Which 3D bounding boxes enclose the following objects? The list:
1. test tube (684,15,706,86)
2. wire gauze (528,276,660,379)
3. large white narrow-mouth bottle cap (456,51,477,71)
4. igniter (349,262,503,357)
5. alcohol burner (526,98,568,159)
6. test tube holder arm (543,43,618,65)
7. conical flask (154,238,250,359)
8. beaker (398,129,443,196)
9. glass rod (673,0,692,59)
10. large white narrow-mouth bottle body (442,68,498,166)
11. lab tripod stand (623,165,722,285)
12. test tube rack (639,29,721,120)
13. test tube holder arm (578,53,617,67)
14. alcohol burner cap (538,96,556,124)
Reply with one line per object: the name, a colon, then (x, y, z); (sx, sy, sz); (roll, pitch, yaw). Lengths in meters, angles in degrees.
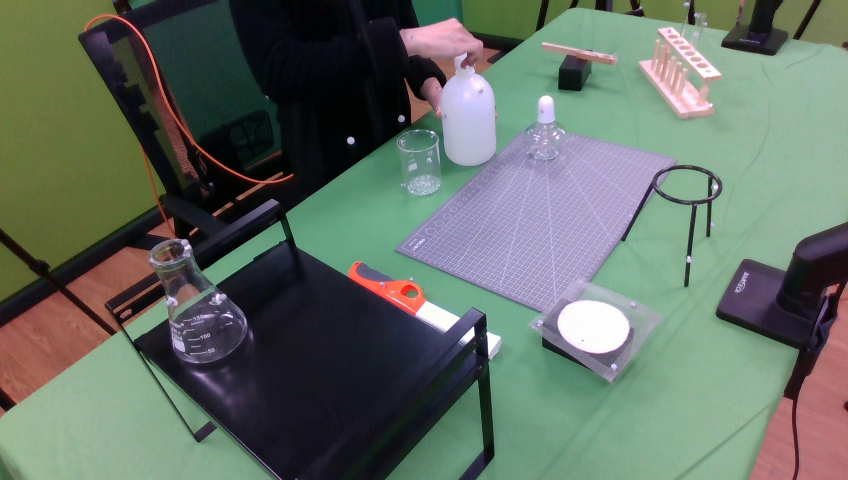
test tube: (0.541, -0.378, 1.215); (0.017, 0.151, 0.017); (-2, 44, 3)
wire gauze: (0.213, 0.103, 0.763); (0.124, 0.011, 0.122); (30, 52, 35)
large white narrow-mouth bottle cap: (0.075, -0.314, 1.058); (0.038, 0.024, 0.037); (-4, 40, 4)
igniter: (-0.008, 0.093, 0.870); (0.274, 0.025, 0.057); (24, 60, 33)
alcohol burner: (0.228, -0.210, 1.118); (0.078, 0.119, 0.077); (-5, 43, 5)
test tube holder arm: (0.344, -0.413, 1.341); (0.177, 0.015, 0.013); (25, 51, 31)
conical flask: (-0.225, 0.055, 0.597); (0.075, 0.122, 0.075); (-5, 41, 4)
beaker: (-0.002, -0.139, 1.087); (0.073, 0.101, 0.084); (28, 52, 35)
glass rod: (0.537, -0.437, 1.257); (0.008, 0.200, 0.008); (0, 39, 1)
large white narrow-mouth bottle body: (0.084, -0.242, 1.121); (0.102, 0.195, 0.101); (-4, 41, 4)
lab tripod stand: (0.365, -0.030, 0.874); (0.148, 0.132, 0.147); (-6, 41, 6)
test tube rack: (0.527, -0.351, 1.262); (0.067, 0.085, 0.241); (-8, 40, 1)
test tube holder arm: (0.376, -0.393, 1.314); (0.087, 0.015, 0.010); (26, 51, 32)
alcohol burner cap: (0.222, -0.237, 1.095); (0.034, 0.048, 0.033); (-7, 35, 5)
